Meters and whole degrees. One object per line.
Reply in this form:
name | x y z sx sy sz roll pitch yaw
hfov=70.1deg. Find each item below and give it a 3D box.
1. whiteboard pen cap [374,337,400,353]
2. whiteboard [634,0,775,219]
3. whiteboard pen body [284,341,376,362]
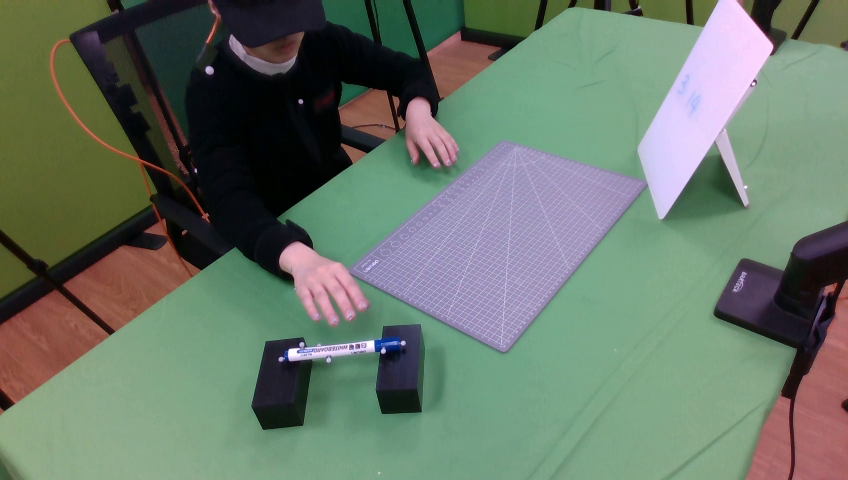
whiteboard pen cap | -0.047 0.131 0.753 0.033 0.018 0.018 -8 40 3
whiteboard | 0.485 -0.193 0.957 0.144 0.305 0.216 14 41 -4
whiteboard pen body | -0.104 0.138 0.754 0.141 0.017 0.017 -6 40 1
